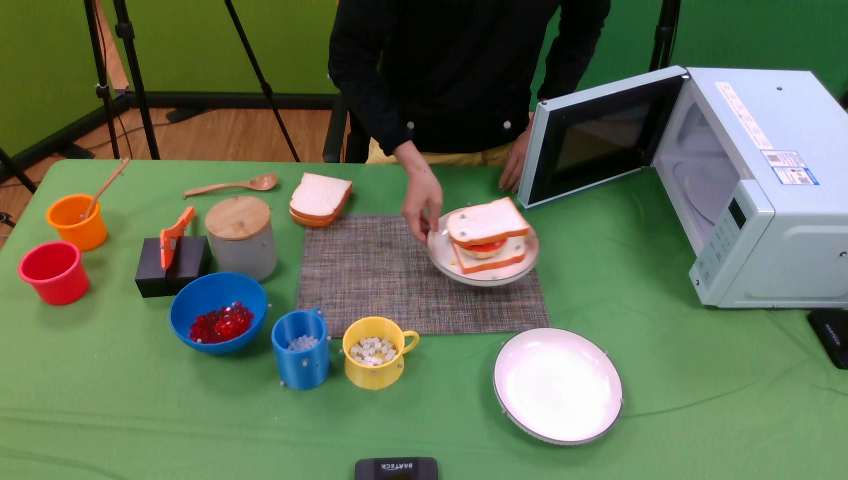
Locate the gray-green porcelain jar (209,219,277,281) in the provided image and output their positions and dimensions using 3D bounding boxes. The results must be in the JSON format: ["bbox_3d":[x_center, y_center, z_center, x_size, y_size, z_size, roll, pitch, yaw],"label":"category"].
[{"bbox_3d":[-0.323,0.007,1.092,0.106,0.127,0.105,2,46,-2],"label":"gray-green porcelain jar"}]

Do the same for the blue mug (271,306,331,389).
[{"bbox_3d":[-0.188,0.163,0.969,0.082,0.106,0.116,15,47,10],"label":"blue mug"}]

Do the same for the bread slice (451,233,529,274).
[{"bbox_3d":[0.125,0.010,1.114,0.131,0.019,0.104,-13,44,-9],"label":"bread slice"}]

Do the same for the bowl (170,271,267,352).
[{"bbox_3d":[-0.333,0.132,1.006,0.151,0.077,0.150,2,46,-2],"label":"bowl"}]

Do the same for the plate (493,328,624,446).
[{"bbox_3d":[0.213,0.236,0.974,0.208,0.039,0.206,2,46,-2],"label":"plate"}]

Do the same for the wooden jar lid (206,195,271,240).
[{"bbox_3d":[-0.319,-0.036,1.046,0.108,0.021,0.107,1,44,0],"label":"wooden jar lid"}]

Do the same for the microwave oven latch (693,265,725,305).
[{"bbox_3d":[0.523,0.082,1.116,0.030,0.029,0.078,2,46,-1],"label":"microwave oven latch"}]

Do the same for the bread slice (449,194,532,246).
[{"bbox_3d":[0.112,-0.031,1.068,0.134,0.018,0.106,-18,36,-7],"label":"bread slice"}]

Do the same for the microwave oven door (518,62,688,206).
[{"bbox_3d":[0.368,-0.218,1.249,0.356,0.245,0.039,-19,51,-20],"label":"microwave oven door"}]

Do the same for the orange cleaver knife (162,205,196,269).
[{"bbox_3d":[-0.454,-0.010,1.129,0.012,0.077,0.210,-1,20,-5],"label":"orange cleaver knife"}]

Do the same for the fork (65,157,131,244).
[{"bbox_3d":[-0.609,-0.074,1.133,0.207,0.019,0.028,-52,51,10],"label":"fork"}]

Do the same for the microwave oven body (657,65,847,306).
[{"bbox_3d":[0.669,-0.111,1.176,0.326,0.261,0.439,0,46,-3],"label":"microwave oven body"}]

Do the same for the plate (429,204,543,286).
[{"bbox_3d":[0.112,0.011,1.109,0.209,0.038,0.208,0,42,0],"label":"plate"}]

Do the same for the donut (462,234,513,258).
[{"bbox_3d":[0.111,-0.010,1.091,0.099,0.048,0.098,1,44,-1],"label":"donut"}]

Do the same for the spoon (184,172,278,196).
[{"bbox_3d":[-0.405,-0.117,1.275,0.194,0.022,0.041,-8,65,-12],"label":"spoon"}]

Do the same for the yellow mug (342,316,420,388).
[{"bbox_3d":[-0.068,0.177,0.990,0.131,0.064,0.099,-16,50,-19],"label":"yellow mug"}]
